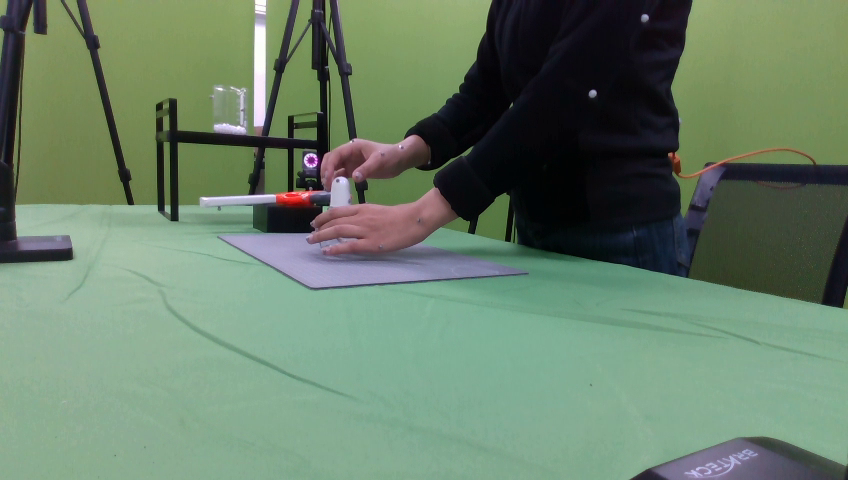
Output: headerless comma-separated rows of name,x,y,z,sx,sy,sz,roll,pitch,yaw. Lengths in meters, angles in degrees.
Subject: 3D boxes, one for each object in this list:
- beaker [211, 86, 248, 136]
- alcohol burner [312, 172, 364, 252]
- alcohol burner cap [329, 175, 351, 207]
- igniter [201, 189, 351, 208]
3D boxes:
beaker,-0.414,-0.274,1.297,0.074,0.100,0.083,-5,11,-44
alcohol burner,-0.128,-0.042,0.905,0.078,0.119,0.078,2,6,0
alcohol burner cap,-0.125,-0.072,0.900,0.034,0.048,0.034,2,7,0
igniter,-0.272,-0.078,1.138,0.278,0.025,0.057,-5,11,-28
